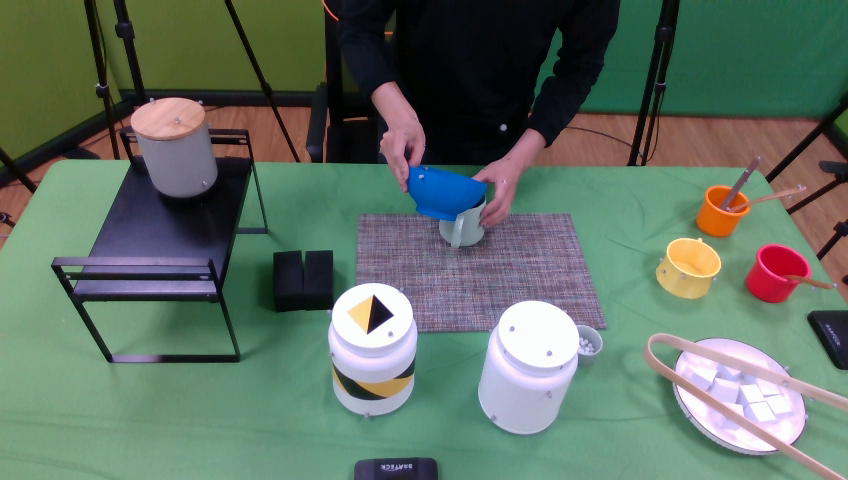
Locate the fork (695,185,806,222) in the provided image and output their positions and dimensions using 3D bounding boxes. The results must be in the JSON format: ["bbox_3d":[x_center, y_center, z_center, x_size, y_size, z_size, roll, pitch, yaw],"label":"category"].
[{"bbox_3d":[0.658,-0.074,1.230,0.207,0.019,0.028,-23,36,37],"label":"fork"}]

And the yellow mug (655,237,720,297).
[{"bbox_3d":[0.509,0.041,1.167,0.099,0.064,0.130,24,48,18],"label":"yellow mug"}]

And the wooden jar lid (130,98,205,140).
[{"bbox_3d":[-0.393,-0.183,0.934,0.108,0.021,0.107,2,43,-2],"label":"wooden jar lid"}]

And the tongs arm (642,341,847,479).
[{"bbox_3d":[0.504,0.278,0.917,0.386,0.028,0.028,34,59,22],"label":"tongs arm"}]

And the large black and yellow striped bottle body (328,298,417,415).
[{"bbox_3d":[-0.078,0.167,0.920,0.131,0.185,0.130,2,46,-2],"label":"large black and yellow striped bottle body"}]

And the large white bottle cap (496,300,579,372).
[{"bbox_3d":[0.160,0.133,0.852,0.115,0.018,0.114,3,46,-3],"label":"large white bottle cap"}]

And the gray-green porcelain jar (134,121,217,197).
[{"bbox_3d":[-0.397,-0.141,0.980,0.106,0.127,0.105,2,47,-2],"label":"gray-green porcelain jar"}]

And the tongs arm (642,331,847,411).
[{"bbox_3d":[0.546,0.227,0.968,0.384,0.026,0.050,22,52,13],"label":"tongs arm"}]

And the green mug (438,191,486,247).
[{"bbox_3d":[0.072,-0.039,1.178,0.092,0.105,0.124,12,46,7],"label":"green mug"}]

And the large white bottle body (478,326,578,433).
[{"bbox_3d":[0.156,0.192,0.913,0.131,0.185,0.130,2,46,-2],"label":"large white bottle body"}]

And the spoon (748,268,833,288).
[{"bbox_3d":[0.660,0.068,1.097,0.041,0.193,0.021,-4,91,-6],"label":"spoon"}]

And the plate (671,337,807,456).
[{"bbox_3d":[0.503,0.254,0.984,0.208,0.039,0.206,2,46,-2],"label":"plate"}]

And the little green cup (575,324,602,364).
[{"bbox_3d":[0.269,0.179,1.036,0.061,0.039,0.061,2,45,-2],"label":"little green cup"}]

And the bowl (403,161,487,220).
[{"bbox_3d":[0.028,-0.082,1.064,0.151,0.077,0.151,14,10,-2],"label":"bowl"}]

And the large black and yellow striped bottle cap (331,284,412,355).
[{"bbox_3d":[-0.073,0.110,0.858,0.115,0.019,0.114,2,46,-2],"label":"large black and yellow striped bottle cap"}]

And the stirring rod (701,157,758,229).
[{"bbox_3d":[0.634,-0.096,1.257,0.014,0.006,0.176,38,97,30],"label":"stirring rod"}]
